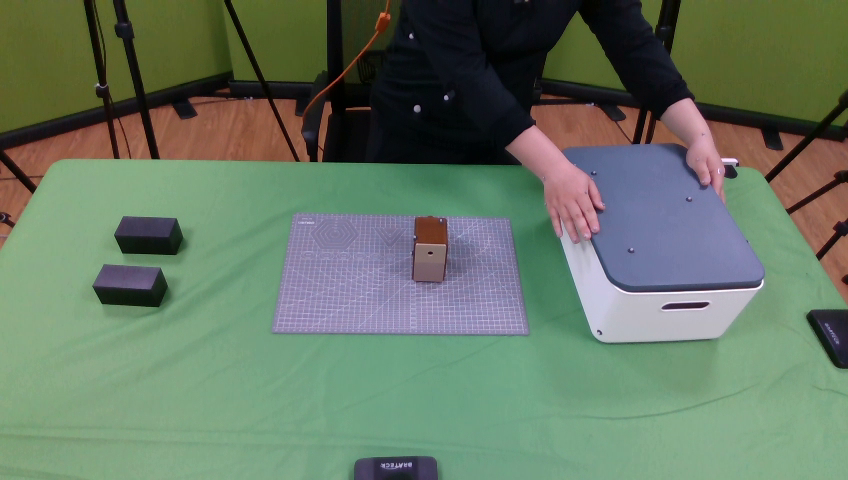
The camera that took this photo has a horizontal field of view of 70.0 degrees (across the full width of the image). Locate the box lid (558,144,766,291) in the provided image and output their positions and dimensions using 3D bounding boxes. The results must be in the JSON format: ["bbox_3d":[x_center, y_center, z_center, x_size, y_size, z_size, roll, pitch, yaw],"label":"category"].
[{"bbox_3d":[0.404,-0.053,1.073,0.263,0.015,0.369,-3,45,-5],"label":"box lid"}]

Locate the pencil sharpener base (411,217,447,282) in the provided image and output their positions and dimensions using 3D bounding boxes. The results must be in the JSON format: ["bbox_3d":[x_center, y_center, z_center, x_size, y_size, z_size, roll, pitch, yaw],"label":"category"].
[{"bbox_3d":[0.009,0.017,1.118,0.061,0.107,0.076,2,45,-2],"label":"pencil sharpener base"}]

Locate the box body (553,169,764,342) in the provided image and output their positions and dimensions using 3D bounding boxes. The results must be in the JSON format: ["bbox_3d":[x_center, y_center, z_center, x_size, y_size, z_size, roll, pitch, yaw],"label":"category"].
[{"bbox_3d":[0.404,0.006,1.125,0.254,0.161,0.361,-2,46,-5],"label":"box body"}]

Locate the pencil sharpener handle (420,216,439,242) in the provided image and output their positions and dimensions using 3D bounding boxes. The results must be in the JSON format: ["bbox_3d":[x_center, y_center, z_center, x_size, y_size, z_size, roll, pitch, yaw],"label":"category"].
[{"bbox_3d":[0.007,-0.028,1.145,0.036,0.068,0.030,6,45,-6],"label":"pencil sharpener handle"}]
